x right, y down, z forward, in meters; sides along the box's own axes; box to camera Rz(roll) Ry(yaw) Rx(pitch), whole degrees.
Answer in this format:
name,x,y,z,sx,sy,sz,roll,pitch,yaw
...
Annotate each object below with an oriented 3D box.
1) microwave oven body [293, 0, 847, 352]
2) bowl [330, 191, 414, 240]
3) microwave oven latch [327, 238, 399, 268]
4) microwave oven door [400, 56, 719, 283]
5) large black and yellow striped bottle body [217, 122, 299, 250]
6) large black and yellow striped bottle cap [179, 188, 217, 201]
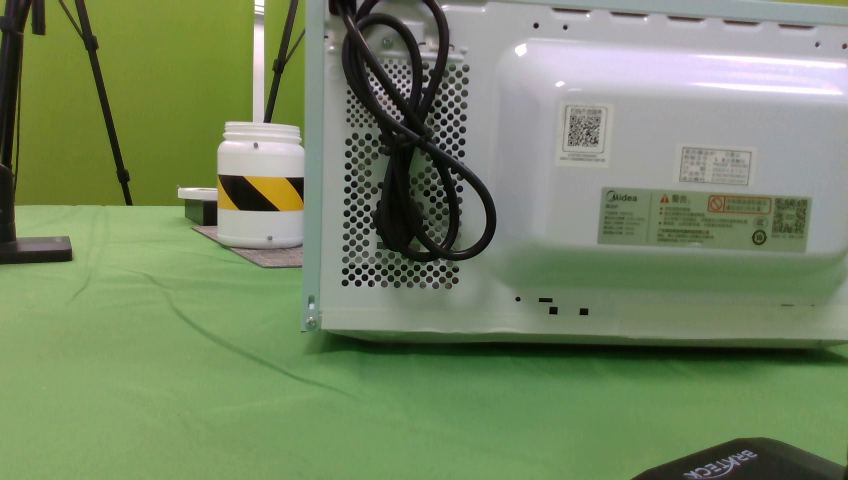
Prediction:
name,x,y,z,sx,sy,sz,roll,pitch,yaw
microwave oven body,0.122,-0.055,0.550,0.442,0.260,0.325,3,7,-5
bowl,-0.095,-0.044,1.096,0.151,0.077,0.151,3,8,0
microwave oven latch,-0.069,0.015,0.694,0.079,0.029,0.030,3,7,-3
microwave oven door,0.155,-0.077,0.698,0.356,0.243,0.039,2,8,-5
large black and yellow striped bottle body,-0.250,-0.084,0.931,0.131,0.184,0.130,2,7,0
large black and yellow striped bottle cap,-0.434,-0.093,1.226,0.115,0.019,0.115,3,9,0
